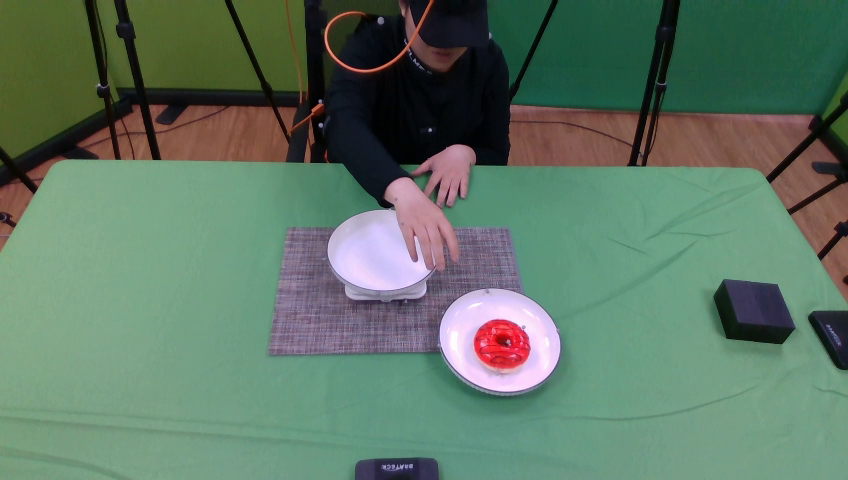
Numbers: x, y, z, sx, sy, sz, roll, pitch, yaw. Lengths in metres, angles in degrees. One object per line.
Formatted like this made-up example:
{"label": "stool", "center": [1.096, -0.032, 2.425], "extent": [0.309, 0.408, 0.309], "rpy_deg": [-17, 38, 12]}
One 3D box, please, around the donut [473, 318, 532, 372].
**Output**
{"label": "donut", "center": [0.131, 0.174, 1.010], "extent": [0.099, 0.048, 0.098], "rpy_deg": [1, 48, -1]}

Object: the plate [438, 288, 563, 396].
{"label": "plate", "center": [0.128, 0.173, 1.025], "extent": [0.209, 0.038, 0.208], "rpy_deg": [3, 48, -3]}

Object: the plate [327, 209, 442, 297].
{"label": "plate", "center": [-0.071, 0.027, 1.110], "extent": [0.208, 0.039, 0.206], "rpy_deg": [2, 46, -1]}

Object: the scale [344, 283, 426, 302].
{"label": "scale", "center": [-0.075, 0.033, 1.149], "extent": [0.149, 0.032, 0.199], "rpy_deg": [0, 46, -5]}
